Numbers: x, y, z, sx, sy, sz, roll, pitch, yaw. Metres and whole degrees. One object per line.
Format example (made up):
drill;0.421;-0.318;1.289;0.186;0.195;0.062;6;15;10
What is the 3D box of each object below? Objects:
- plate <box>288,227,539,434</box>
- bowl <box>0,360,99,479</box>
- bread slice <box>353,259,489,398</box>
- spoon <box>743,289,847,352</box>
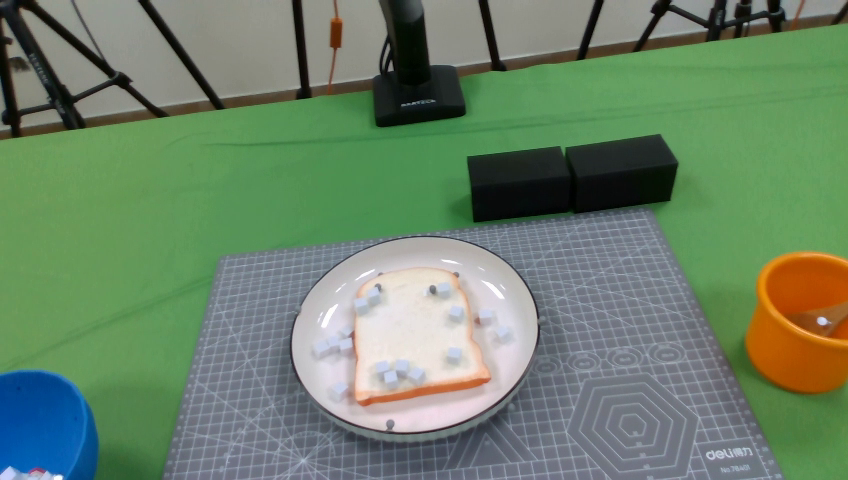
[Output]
plate;-0.009;0.072;0.516;0.209;0.038;0.207;-4;45;4
bowl;-0.299;0.170;0.433;0.151;0.077;0.150;-4;45;4
bread slice;-0.012;0.071;0.521;0.107;0.018;0.133;-12;46;-3
spoon;0.326;0.033;0.434;0.022;0.194;0.041;30;42;-26
